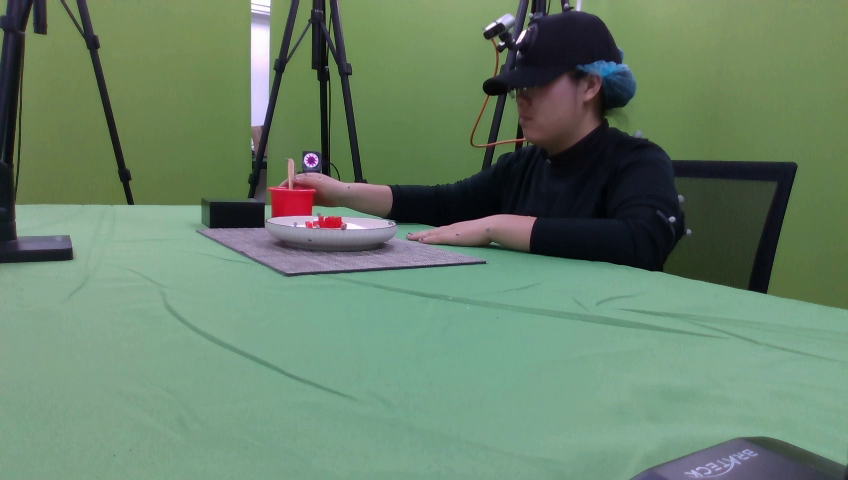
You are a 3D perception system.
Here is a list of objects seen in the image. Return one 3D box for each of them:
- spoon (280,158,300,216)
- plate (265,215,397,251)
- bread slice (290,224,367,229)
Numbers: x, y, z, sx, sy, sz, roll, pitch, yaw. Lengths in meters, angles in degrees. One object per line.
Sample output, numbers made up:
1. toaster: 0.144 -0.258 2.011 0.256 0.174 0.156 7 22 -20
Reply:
1. spoon: -0.281 -0.109 1.275 0.042 0.193 0.021 0 -37 -10
2. plate: -0.147 -0.012 0.963 0.209 0.038 0.209 3 7 0
3. bread slice: -0.154 -0.013 0.973 0.132 0.019 0.104 -2 8 -31
